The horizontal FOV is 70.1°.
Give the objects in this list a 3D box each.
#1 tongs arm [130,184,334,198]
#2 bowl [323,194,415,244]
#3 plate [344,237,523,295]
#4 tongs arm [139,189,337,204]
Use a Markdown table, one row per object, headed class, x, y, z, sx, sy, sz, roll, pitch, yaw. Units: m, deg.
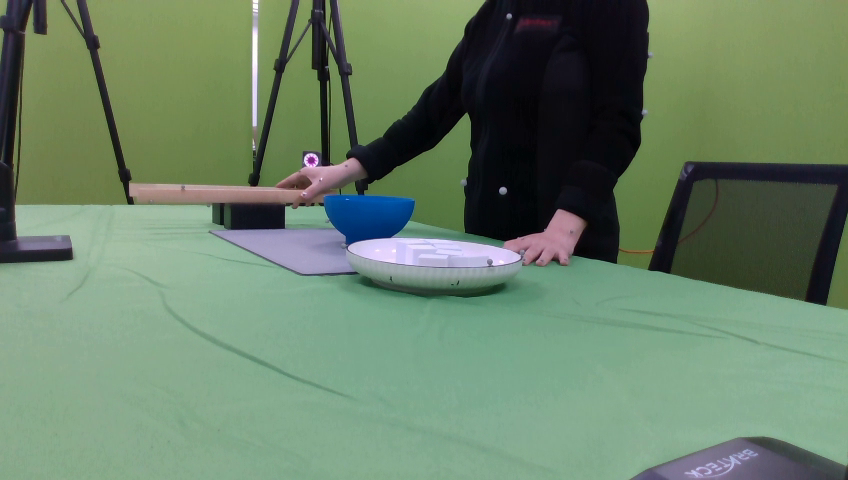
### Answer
| class | x | y | z | sx | sy | sz | roll | pitch | yaw |
| --- | --- | --- | --- | --- | --- | --- | --- | --- | --- |
| tongs arm | -0.373 | -0.094 | 1.212 | 0.389 | 0.028 | 0.028 | -1 | 3 | -22 |
| bowl | -0.091 | -0.032 | 0.987 | 0.151 | 0.077 | 0.151 | 2 | 7 | 0 |
| plate | 0.010 | 0.030 | 0.707 | 0.208 | 0.039 | 0.207 | 3 | 8 | 0 |
| tongs arm | -0.333 | -0.083 | 1.145 | 0.387 | 0.026 | 0.050 | -3 | 8 | -34 |
